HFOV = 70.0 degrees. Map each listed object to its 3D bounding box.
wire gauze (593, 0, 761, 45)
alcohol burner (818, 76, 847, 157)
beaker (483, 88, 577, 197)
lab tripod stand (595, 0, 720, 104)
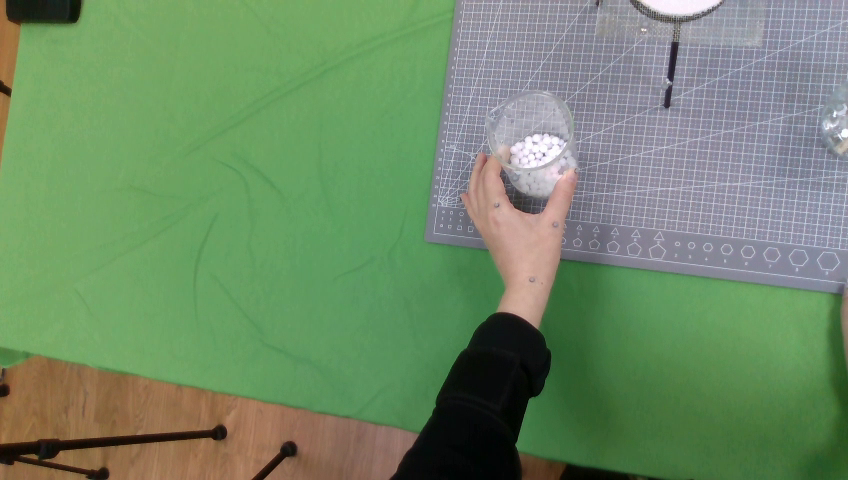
[{"bbox_3d":[0.199,-0.215,0.470,0.124,0.011,0.121,7,91,15],"label":"wire gauze"},{"bbox_3d":[0.374,-0.107,0.497,0.077,0.119,0.078,-1,87,14],"label":"alcohol burner"},{"bbox_3d":[0.101,-0.086,0.562,0.083,0.101,0.074,26,86,21],"label":"beaker"},{"bbox_3d":[0.217,-0.210,0.535,0.148,0.132,0.148,-1,88,14],"label":"lab tripod stand"}]
